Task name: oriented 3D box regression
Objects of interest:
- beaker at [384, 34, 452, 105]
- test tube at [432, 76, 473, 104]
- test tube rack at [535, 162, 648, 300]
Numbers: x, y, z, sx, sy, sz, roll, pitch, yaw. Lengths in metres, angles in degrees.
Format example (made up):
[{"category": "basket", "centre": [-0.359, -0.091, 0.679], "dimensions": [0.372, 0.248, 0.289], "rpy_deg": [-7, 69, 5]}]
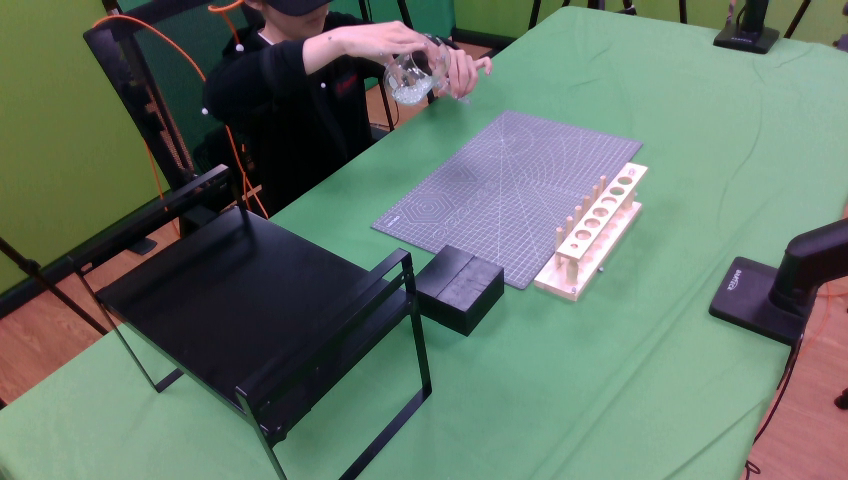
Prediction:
[{"category": "beaker", "centre": [-0.010, -0.261, 0.942], "dimensions": [0.073, 0.084, 0.100], "rpy_deg": [10, 46, 28]}, {"category": "test tube", "centre": [0.053, -0.261, 1.061], "dimensions": [0.017, 0.017, 0.151], "rpy_deg": [18, 7, 27]}, {"category": "test tube rack", "centre": [0.257, -0.024, 0.916], "dimensions": [0.066, 0.085, 0.243], "rpy_deg": [22, 49, 30]}]
